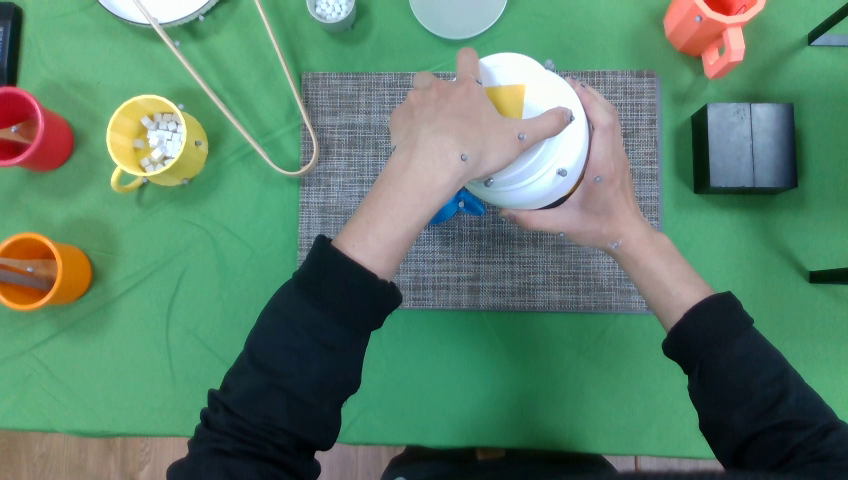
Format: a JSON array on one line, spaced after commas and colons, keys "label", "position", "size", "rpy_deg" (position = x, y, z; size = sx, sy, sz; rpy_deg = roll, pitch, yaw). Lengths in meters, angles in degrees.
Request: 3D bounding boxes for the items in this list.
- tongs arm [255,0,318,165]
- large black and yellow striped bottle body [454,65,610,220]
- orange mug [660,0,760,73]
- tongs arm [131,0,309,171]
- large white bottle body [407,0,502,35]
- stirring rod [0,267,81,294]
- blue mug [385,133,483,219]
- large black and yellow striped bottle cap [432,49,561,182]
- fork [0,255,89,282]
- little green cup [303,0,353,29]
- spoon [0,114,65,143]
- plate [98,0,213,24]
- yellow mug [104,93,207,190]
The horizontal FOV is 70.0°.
[{"label": "tongs arm", "position": [-0.211, -0.278, 0.759], "size": [0.028, 0.028, 0.387], "rpy_deg": [-24, 92, -8]}, {"label": "large black and yellow striped bottle body", "position": [0.101, -0.095, 0.594], "size": [0.130, 0.185, 0.130], "rpy_deg": [-3, 83, 27]}, {"label": "orange mug", "position": [0.343, -0.269, 0.718], "size": [0.083, 0.101, 0.125], "rpy_deg": [-9, 81, 3]}, {"label": "tongs arm", "position": [-0.282, -0.233, 0.756], "size": [0.051, 0.026, 0.385], "rpy_deg": [-38, 92, -4]}, {"label": "large white bottle body", "position": [0.034, -0.334, 0.694], "size": [0.130, 0.185, 0.130], "rpy_deg": [0, 85, 3]}, {"label": "stirring rod", "position": [-0.501, 0.038, 0.712], "size": [0.006, 0.178, 0.014], "rpy_deg": [-13, 64, 45]}, {"label": "blue mug", "position": [0.017, -0.065, 0.710], "size": [0.116, 0.106, 0.082], "rpy_deg": [26, 87, 5]}, {"label": "large black and yellow striped bottle cap", "position": [0.059, -0.106, 0.517], "size": [0.114, 0.019, 0.114], "rpy_deg": [-6, 77, 29]}, {"label": "fork", "position": [-0.509, 0.020, 0.710], "size": [0.209, 0.018, 0.028], "rpy_deg": [17, 84, -39]}, {"label": "little green cup", "position": [-0.120, -0.302, 0.772], "size": [0.061, 0.039, 0.061], "rpy_deg": [0, 86, 3]}, {"label": "spoon", "position": [-0.539, -0.125, 0.727], "size": [0.194, 0.021, 0.041], "rpy_deg": [-20, 81, -43]}, {"label": "plate", "position": [-0.343, -0.378, 0.789], "size": [0.207, 0.039, 0.207], "rpy_deg": [0, 86, 3]}, {"label": "yellow mug", "position": [-0.343, -0.114, 0.755], "size": [0.100, 0.064, 0.131], "rpy_deg": [39, 90, 5]}]
